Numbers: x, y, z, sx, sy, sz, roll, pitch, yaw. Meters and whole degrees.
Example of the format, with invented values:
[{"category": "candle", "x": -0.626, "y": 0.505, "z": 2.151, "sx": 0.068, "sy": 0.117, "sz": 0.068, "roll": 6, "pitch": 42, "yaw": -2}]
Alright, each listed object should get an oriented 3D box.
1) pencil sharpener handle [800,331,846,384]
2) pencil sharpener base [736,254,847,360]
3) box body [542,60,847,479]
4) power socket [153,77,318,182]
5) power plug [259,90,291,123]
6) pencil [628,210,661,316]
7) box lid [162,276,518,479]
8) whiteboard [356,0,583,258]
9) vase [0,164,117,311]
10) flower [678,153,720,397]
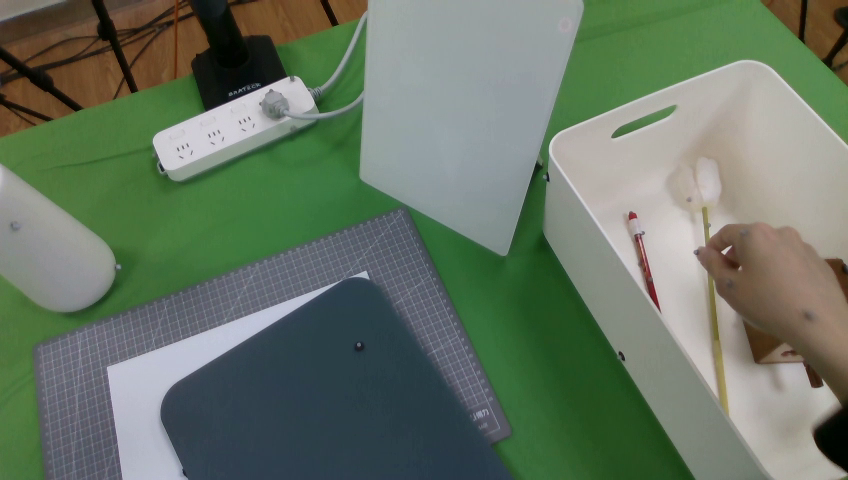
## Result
[{"category": "pencil sharpener handle", "x": 0.366, "y": 0.109, "z": 0.556, "sx": 0.036, "sy": 0.068, "sz": 0.030, "roll": -8, "pitch": 60, "yaw": 12}, {"category": "pencil sharpener base", "x": 0.362, "y": 0.071, "z": 0.591, "sx": 0.061, "sy": 0.108, "sz": 0.076, "roll": -2, "pitch": 61, "yaw": 1}, {"category": "box body", "x": 0.302, "y": 0.033, "z": 0.591, "sx": 0.254, "sy": 0.162, "sz": 0.360, "roll": -23, "pitch": 62, "yaw": -9}, {"category": "power socket", "x": -0.247, "y": -0.148, "z": 0.800, "sx": 0.227, "sy": 0.033, "sz": 0.071, "roll": -27, "pitch": 63, "yaw": -11}, {"category": "power plug", "x": -0.189, "y": -0.160, "z": 0.776, "sx": 0.035, "sy": 0.053, "sz": 0.072, "roll": -18, "pitch": 63, "yaw": -6}, {"category": "pencil", "x": 0.249, "y": 0.052, "z": 0.666, "sx": 0.012, "sy": 0.012, "sz": 0.192, "roll": -5, "pitch": 63, "yaw": 2}, {"category": "box lid", "x": -0.075, "y": 0.226, "z": 0.594, "sx": 0.263, "sy": 0.015, "sz": 0.368, "roll": -32, "pitch": 65, "yaw": -14}, {"category": "whiteboard", "x": 0.059, "y": -0.170, "z": 0.672, "sx": 0.216, "sy": 0.308, "sz": 0.143, "roll": 29, "pitch": 48, "yaw": 19}, {"category": "vase", "x": -0.412, "y": 0.000, "z": 0.634, "sx": 0.098, "sy": 0.202, "sz": 0.097, "roll": -2, "pitch": 61, "yaw": 4}, {"category": "flower", "x": 0.299, "y": 0.064, "z": 0.642, "sx": 0.044, "sy": 0.038, "sz": 0.359, "roll": -10, "pitch": 58, "yaw": 34}]
